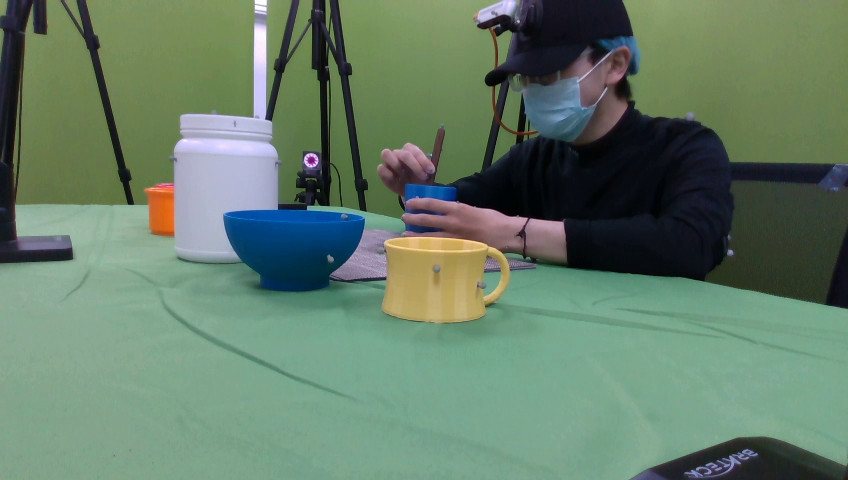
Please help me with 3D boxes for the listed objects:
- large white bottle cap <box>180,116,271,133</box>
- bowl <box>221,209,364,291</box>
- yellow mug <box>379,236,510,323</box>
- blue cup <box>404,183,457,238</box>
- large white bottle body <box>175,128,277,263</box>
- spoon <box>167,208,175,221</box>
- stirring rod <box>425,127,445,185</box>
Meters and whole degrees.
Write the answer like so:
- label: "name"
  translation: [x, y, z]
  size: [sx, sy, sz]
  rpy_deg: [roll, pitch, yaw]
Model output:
- label: "large white bottle cap"
  translation: [-0.262, -0.152, 0.803]
  size: [0.115, 0.018, 0.115]
  rpy_deg: [2, 7, 0]
- label: "bowl"
  translation: [-0.142, 0.011, 0.660]
  size: [0.151, 0.077, 0.151]
  rpy_deg: [2, 7, 0]
- label: "yellow mug"
  translation: [0.024, 0.034, 0.575]
  size: [0.131, 0.064, 0.099]
  rpy_deg: [1, 7, -22]
- label: "blue cup"
  translation: [0.006, -0.038, 0.966]
  size: [0.093, 0.100, 0.092]
  rpy_deg: [5, 5, 0]
- label: "large white bottle body"
  translation: [-0.265, -0.068, 0.814]
  size: [0.131, 0.184, 0.130]
  rpy_deg: [2, 7, 0]
- label: "spoon"
  translation: [-0.447, -0.104, 1.192]
  size: [0.041, 0.022, 0.193]
  rpy_deg: [7, 52, 14]
- label: "stirring rod"
  translation: [0.010, -0.095, 0.976]
  size: [0.014, 0.176, 0.006]
  rpy_deg: [16, 7, 26]
